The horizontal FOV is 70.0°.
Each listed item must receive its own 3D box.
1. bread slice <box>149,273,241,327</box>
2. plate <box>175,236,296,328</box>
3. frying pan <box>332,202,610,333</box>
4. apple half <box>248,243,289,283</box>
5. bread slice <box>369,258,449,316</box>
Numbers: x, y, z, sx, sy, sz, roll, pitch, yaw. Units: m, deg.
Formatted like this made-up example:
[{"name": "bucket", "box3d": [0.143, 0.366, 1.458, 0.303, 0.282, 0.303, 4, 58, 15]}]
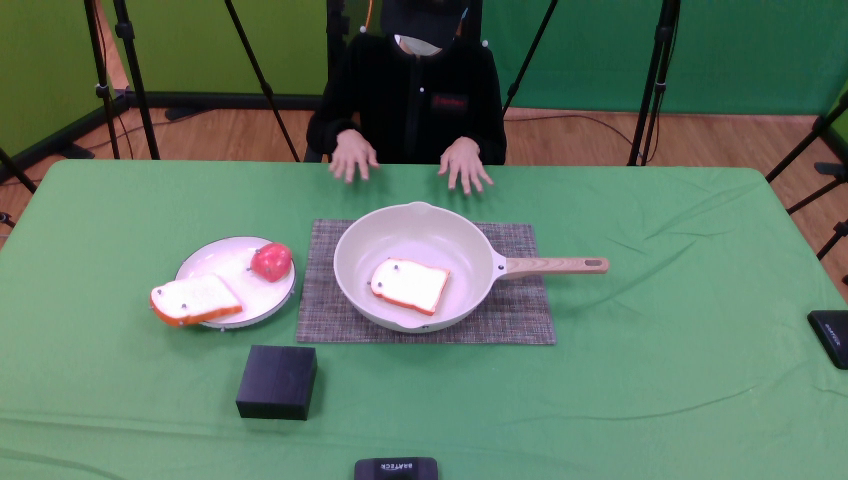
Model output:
[{"name": "bread slice", "box3d": [-0.392, 0.102, 1.029, 0.132, 0.019, 0.104, -14, 43, -45]}, {"name": "plate", "box3d": [-0.335, 0.077, 1.087, 0.208, 0.039, 0.206, 2, 46, -2]}, {"name": "frying pan", "box3d": [0.085, 0.052, 1.093, 0.488, 0.103, 0.305, -1, 46, 6]}, {"name": "apple half", "box3d": [-0.287, 0.035, 1.107, 0.081, 0.033, 0.081, -5, 65, 12]}, {"name": "bread slice", "box3d": [-0.032, 0.083, 1.107, 0.134, 0.018, 0.106, 13, 45, 8]}]
